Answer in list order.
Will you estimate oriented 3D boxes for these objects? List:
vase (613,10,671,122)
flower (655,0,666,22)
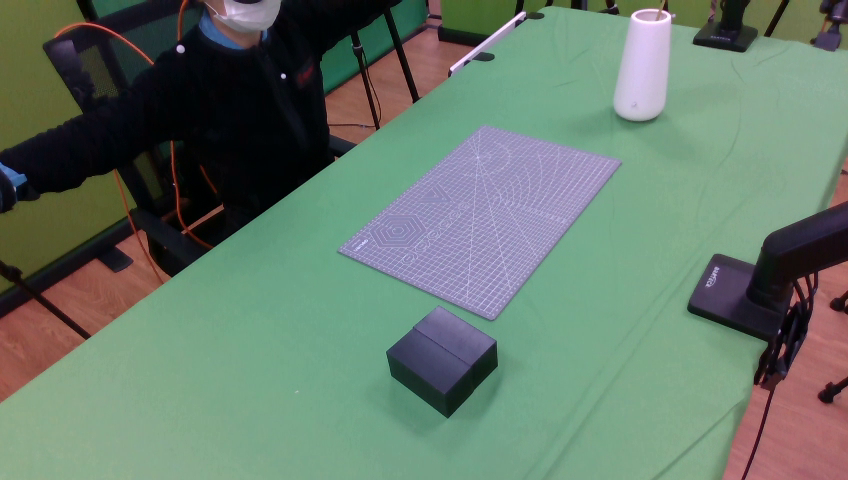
[{"bbox_3d":[0.419,-0.326,1.151,0.098,0.201,0.097,-4,42,4],"label":"vase"},{"bbox_3d":[0.427,-0.398,1.107,0.038,0.362,0.043,-2,32,-21],"label":"flower"}]
